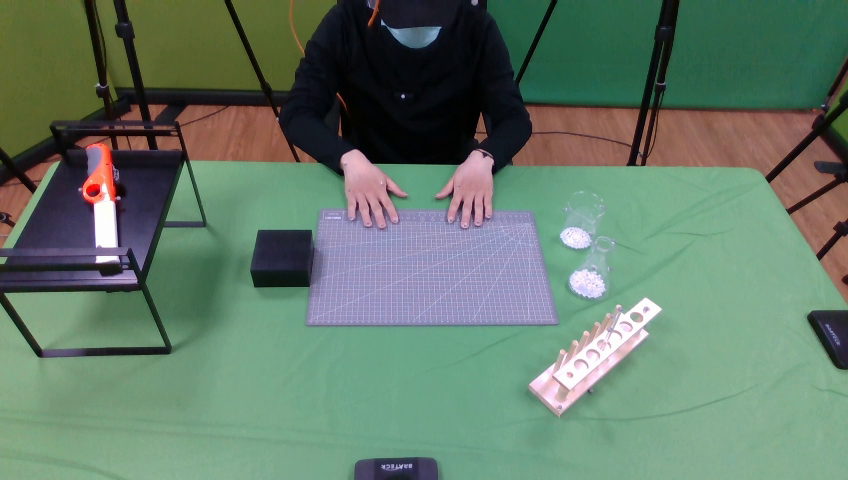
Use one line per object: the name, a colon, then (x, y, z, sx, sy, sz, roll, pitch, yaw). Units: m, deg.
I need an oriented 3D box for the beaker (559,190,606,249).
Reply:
beaker: (0.313, -0.036, 1.202, 0.074, 0.101, 0.083, -3, 47, -6)

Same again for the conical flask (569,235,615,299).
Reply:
conical flask: (0.314, 0.046, 1.108, 0.075, 0.122, 0.075, 2, 47, -2)

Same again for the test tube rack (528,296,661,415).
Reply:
test tube rack: (0.285, 0.178, 1.005, 0.242, 0.085, 0.066, -31, 55, -29)

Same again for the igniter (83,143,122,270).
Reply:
igniter: (-0.508, -0.063, 0.962, 0.057, 0.025, 0.274, -14, 53, -18)

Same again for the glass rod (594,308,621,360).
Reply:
glass rod: (0.278, 0.155, 0.935, 0.008, 0.201, 0.008, -1, 54, 1)
